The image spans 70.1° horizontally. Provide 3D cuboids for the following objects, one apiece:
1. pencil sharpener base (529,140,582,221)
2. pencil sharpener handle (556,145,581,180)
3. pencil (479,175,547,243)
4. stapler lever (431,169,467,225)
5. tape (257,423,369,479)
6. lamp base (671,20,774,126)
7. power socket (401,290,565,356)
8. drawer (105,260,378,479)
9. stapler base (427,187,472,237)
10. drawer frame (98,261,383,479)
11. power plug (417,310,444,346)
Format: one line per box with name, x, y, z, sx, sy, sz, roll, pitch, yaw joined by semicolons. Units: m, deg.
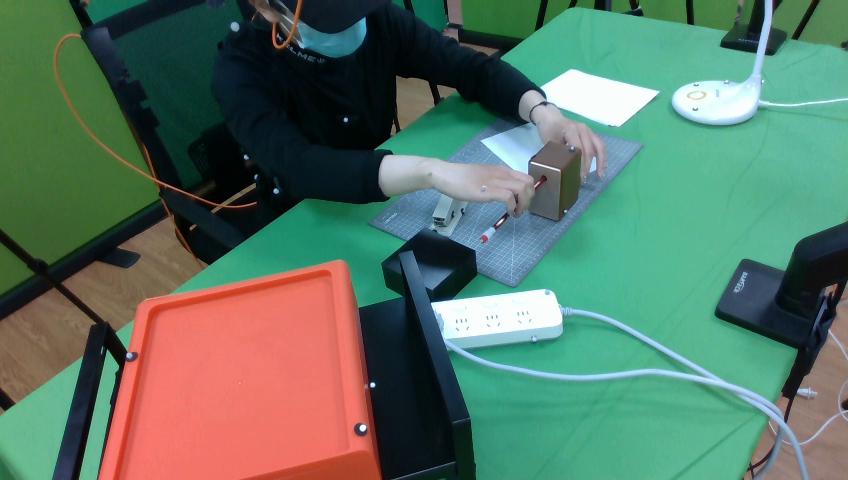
pencil sharpener base;0.214;-0.097;0.985;0.061;0.107;0.077;21;48;30
pencil sharpener handle;0.246;-0.135;1.005;0.035;0.068;0.031;9;41;40
pencil;0.142;-0.056;0.909;0.012;0.012;0.194;25;54;32
stapler lever;0.043;-0.075;1.010;0.026;0.040;0.118;10;45;20
tape;-0.121;0.262;0.660;0.117;0.053;0.116;-4;40;4
lamp base;0.581;-0.332;1.154;0.179;0.181;0.160;2;41;7
power socket;0.080;0.112;0.822;0.227;0.033;0.072;-6;41;0
drawer;-0.150;0.127;0.525;0.195;0.073;0.210;-11;41;-5
stapler base;0.045;-0.057;1.028;0.041;0.024;0.130;10;45;20
drawer frame;-0.148;0.129;0.520;0.202;0.083;0.212;-12;41;-6
power plug;0.006;0.122;0.785;0.035;0.053;0.072;0;40;9
